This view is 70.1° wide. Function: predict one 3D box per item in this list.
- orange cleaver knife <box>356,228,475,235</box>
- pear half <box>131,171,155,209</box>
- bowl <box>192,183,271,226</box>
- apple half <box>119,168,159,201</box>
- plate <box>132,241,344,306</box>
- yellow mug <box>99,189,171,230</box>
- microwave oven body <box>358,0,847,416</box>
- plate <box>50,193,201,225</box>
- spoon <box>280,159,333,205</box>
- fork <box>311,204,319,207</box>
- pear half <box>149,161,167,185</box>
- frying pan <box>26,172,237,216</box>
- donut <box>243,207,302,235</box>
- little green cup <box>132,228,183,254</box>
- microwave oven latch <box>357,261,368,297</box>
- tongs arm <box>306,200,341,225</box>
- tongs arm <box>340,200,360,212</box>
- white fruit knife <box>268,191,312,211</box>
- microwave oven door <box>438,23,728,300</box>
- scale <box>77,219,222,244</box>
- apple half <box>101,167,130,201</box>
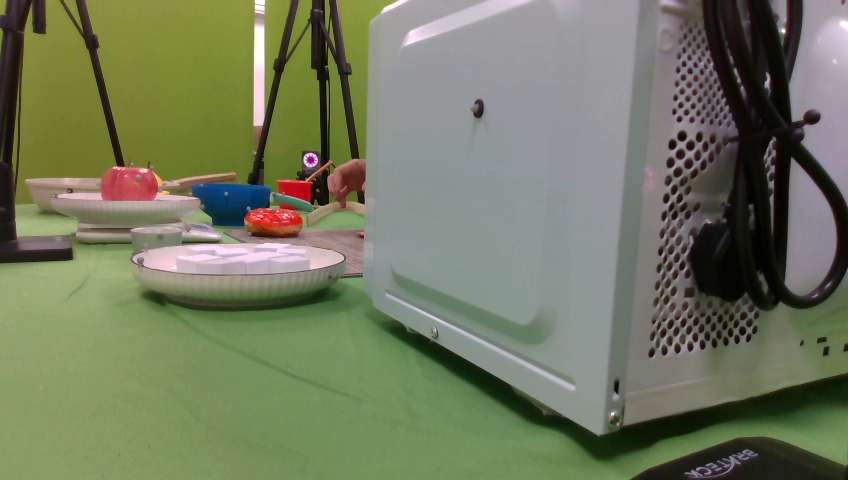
[{"bbox_3d":[-0.017,-0.015,1.080,0.211,0.012,0.077,-1,1,-2],"label":"orange cleaver knife"},{"bbox_3d":[-0.638,-0.113,1.361,0.031,0.088,0.070,5,10,4],"label":"pear half"},{"bbox_3d":[-0.382,-0.071,1.202,0.151,0.077,0.151,3,7,0],"label":"bowl"},{"bbox_3d":[-0.434,-0.076,0.940,0.033,0.081,0.081,1,7,15],"label":"apple half"},{"bbox_3d":[-0.187,0.033,0.625,0.208,0.039,0.207,2,7,0],"label":"plate"},{"bbox_3d":[-0.519,-0.055,1.080,0.099,0.064,0.131,7,10,26],"label":"yellow mug"},{"bbox_3d":[0.211,-0.047,0.474,0.444,0.260,0.324,-1,7,-28],"label":"microwave oven body"},{"bbox_3d":[-0.460,-0.050,0.945,0.209,0.038,0.209,2,7,0],"label":"plate"},{"bbox_3d":[-0.317,-0.159,1.640,0.194,0.022,0.041,-49,32,-20],"label":"spoon"},{"bbox_3d":[-0.356,-0.105,1.526,0.208,0.018,0.028,16,-6,-41],"label":"fork"},{"bbox_3d":[-0.602,-0.120,1.354,0.056,0.110,0.076,4,11,6],"label":"pear half"},{"bbox_3d":[-0.624,-0.118,1.387,0.305,0.102,0.490,8,17,32],"label":"frying pan"},{"bbox_3d":[-0.261,-0.032,1.043,0.099,0.048,0.099,4,9,0],"label":"donut"},{"bbox_3d":[-0.342,0.006,0.779,0.061,0.038,0.061,2,8,0],"label":"little green cup"},{"bbox_3d":[-0.019,0.033,0.531,0.079,0.029,0.030,-1,7,-27],"label":"microwave oven latch"},{"bbox_3d":[-0.234,-0.068,1.414,0.028,0.028,0.387,-5,8,1],"label":"tongs arm"},{"bbox_3d":[-0.149,-0.070,1.429,0.051,0.026,0.383,-4,9,-15],"label":"tongs arm"},{"bbox_3d":[-0.364,-0.105,1.464,0.208,0.027,0.016,15,0,-34],"label":"white fruit knife"},{"bbox_3d":[0.181,-0.073,0.621,0.358,0.243,0.039,-2,8,-29],"label":"microwave oven door"},{"bbox_3d":[-0.434,-0.018,0.963,0.202,0.031,0.148,-1,9,-27],"label":"scale"},{"bbox_3d":[-0.471,-0.077,0.948,0.053,0.074,0.081,1,10,15],"label":"apple half"}]
